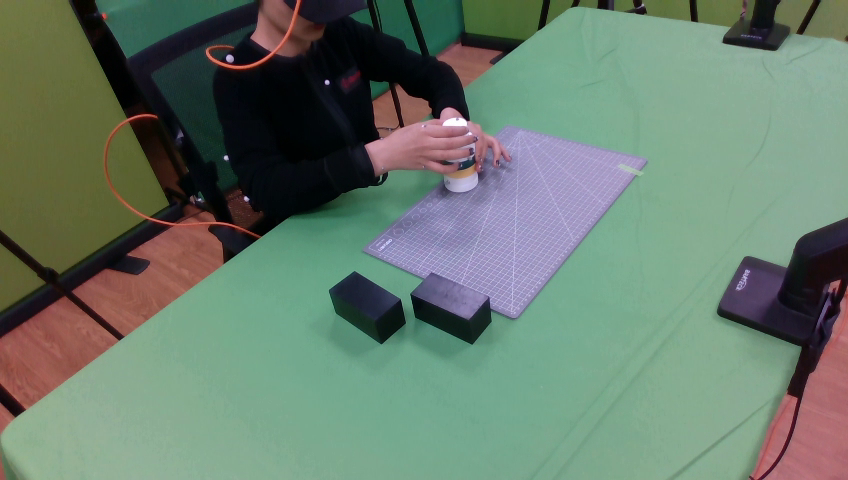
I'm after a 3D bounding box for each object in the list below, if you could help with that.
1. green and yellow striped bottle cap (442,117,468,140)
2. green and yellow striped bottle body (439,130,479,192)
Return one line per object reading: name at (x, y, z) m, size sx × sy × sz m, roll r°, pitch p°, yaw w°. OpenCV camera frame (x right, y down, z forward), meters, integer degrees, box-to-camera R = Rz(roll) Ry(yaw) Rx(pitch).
green and yellow striped bottle cap at (0.052, -0.191, 1.031) m, size 0.045 × 0.020 × 0.045 m, roll -2°, pitch 42°, yaw 2°
green and yellow striped bottle body at (0.061, -0.149, 1.066) m, size 0.063 × 0.120 × 0.063 m, roll -5°, pitch 40°, yaw 5°
